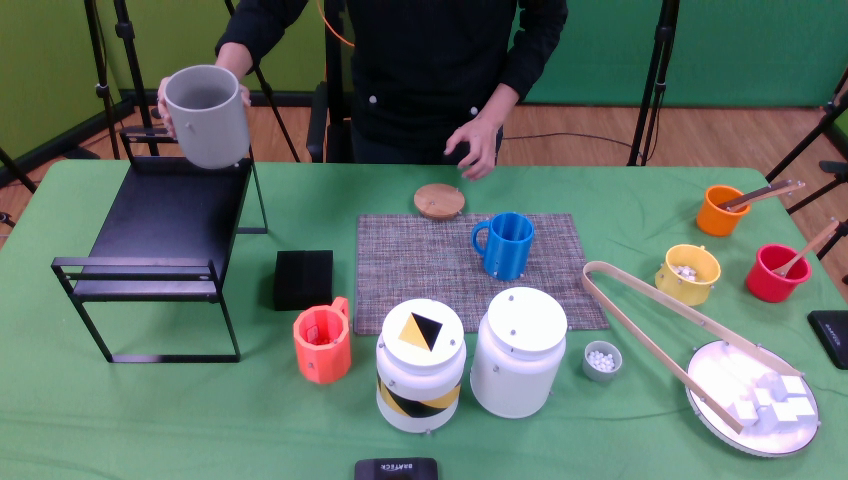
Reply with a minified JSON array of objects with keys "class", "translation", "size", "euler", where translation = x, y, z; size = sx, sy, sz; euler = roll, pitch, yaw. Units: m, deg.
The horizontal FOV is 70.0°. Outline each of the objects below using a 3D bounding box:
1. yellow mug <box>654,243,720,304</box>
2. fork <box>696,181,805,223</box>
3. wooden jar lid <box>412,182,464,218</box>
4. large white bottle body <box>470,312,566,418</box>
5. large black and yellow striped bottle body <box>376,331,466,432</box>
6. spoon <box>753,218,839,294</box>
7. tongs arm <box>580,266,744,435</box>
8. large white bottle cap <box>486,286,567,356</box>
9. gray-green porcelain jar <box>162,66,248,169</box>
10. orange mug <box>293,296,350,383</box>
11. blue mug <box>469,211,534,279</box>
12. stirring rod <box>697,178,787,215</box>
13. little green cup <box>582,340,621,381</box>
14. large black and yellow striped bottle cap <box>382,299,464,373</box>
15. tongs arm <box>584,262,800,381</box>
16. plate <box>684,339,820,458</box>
[{"class":"yellow mug","translation":[0.504,0.054,1.154],"size":[0.099,0.064,0.130],"euler":[28,50,22]},{"class":"fork","translation":[0.659,-0.077,1.232],"size":[0.207,0.019,0.028],"euler":[-26,35,34]},{"class":"wooden jar lid","translation":[0.029,-0.083,1.276],"size":[0.108,0.021,0.107],"euler":[3,43,-3]},{"class":"large white bottle body","translation":[0.143,0.173,0.930],"size":[0.131,0.185,0.130],"euler":[2,46,-2]},{"class":"large black and yellow striped bottle body","translation":[-0.007,0.189,0.905],"size":[0.131,0.185,0.130],"euler":[2,46,-2]},{"class":"spoon","translation":[0.700,0.031,1.138],"size":[0.194,0.022,0.041],"euler":[-47,55,14]},{"class":"tongs arm","translation":[0.384,0.173,1.028],"size":[0.028,0.028,0.385],"euler":[-25,46,-15]},{"class":"large white bottle cap","translation":[0.147,0.114,0.869],"size":[0.115,0.018,0.114],"euler":[3,46,-3]},{"class":"gray-green porcelain jar","translation":[-0.326,-0.179,0.917],"size":[0.106,0.127,0.105],"euler":[3,52,-4]},{"class":"orange mug","translation":[-0.157,0.154,0.985],"size":[0.083,0.101,0.125],"euler":[17,52,11]},{"class":"blue mug","translation":[0.141,0.005,1.140],"size":[0.116,0.106,0.082],"euler":[18,48,13]},{"class":"stirring rod","translation":[0.650,-0.088,1.246],"size":[0.006,0.176,0.014],"euler":[29,49,-38]},{"class":"little green cup","translation":[0.295,0.204,1.015],"size":[0.061,0.039,0.061],"euler":[2,45,-2]},{"class":"large black and yellow striped bottle cap","translation":[-0.002,0.132,0.843],"size":[0.115,0.019,0.114],"euler":[2,46,-1]},{"class":"tongs arm","translation":[0.451,0.137,1.064],"size":[0.051,0.027,0.382],"euler":[-34,50,-27]},{"class":"plate","translation":[0.523,0.256,0.982],"size":[0.208,0.039,0.206],"euler":[2,46,-2]}]
